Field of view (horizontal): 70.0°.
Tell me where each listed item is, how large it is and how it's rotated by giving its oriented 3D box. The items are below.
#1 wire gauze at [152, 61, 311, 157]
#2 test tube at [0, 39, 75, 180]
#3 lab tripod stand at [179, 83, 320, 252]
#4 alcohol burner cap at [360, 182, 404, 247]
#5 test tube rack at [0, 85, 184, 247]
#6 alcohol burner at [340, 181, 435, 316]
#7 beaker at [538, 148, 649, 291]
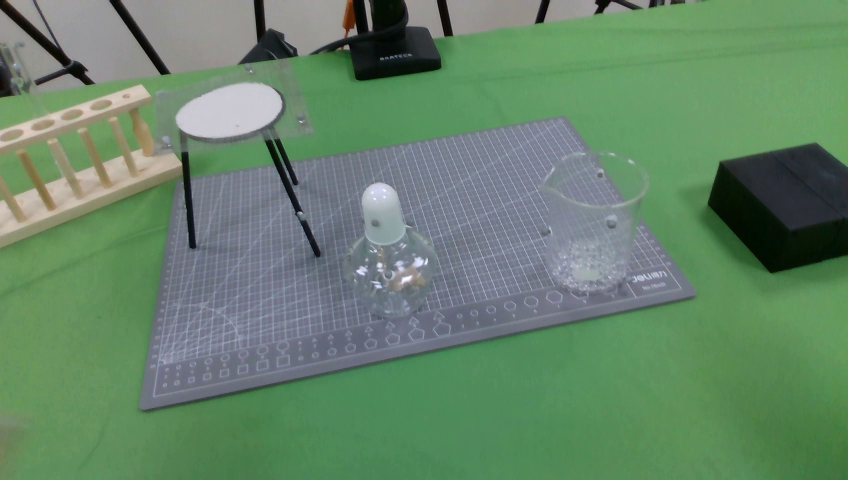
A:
[{"bbox_3d":[-0.165,-0.111,0.508,0.125,0.011,0.120,-15,43,-10],"label":"wire gauze"},{"bbox_3d":[-0.387,-0.126,0.610,0.017,0.151,0.017,-1,38,1],"label":"test tube"},{"bbox_3d":[-0.160,-0.062,0.554,0.148,0.133,0.147,-3,45,3],"label":"lab tripod stand"},{"bbox_3d":[-0.034,-0.022,0.461,0.034,0.048,0.033,-3,44,4],"label":"alcohol burner cap"},{"bbox_3d":[-0.387,-0.071,0.624,0.242,0.086,0.066,-28,47,-23],"label":"test tube rack"},{"bbox_3d":[-0.030,0.004,0.486,0.078,0.120,0.077,-2,40,2],"label":"alcohol burner"},{"bbox_3d":[0.134,-0.013,0.500,0.084,0.101,0.073,-3,42,4],"label":"beaker"}]
